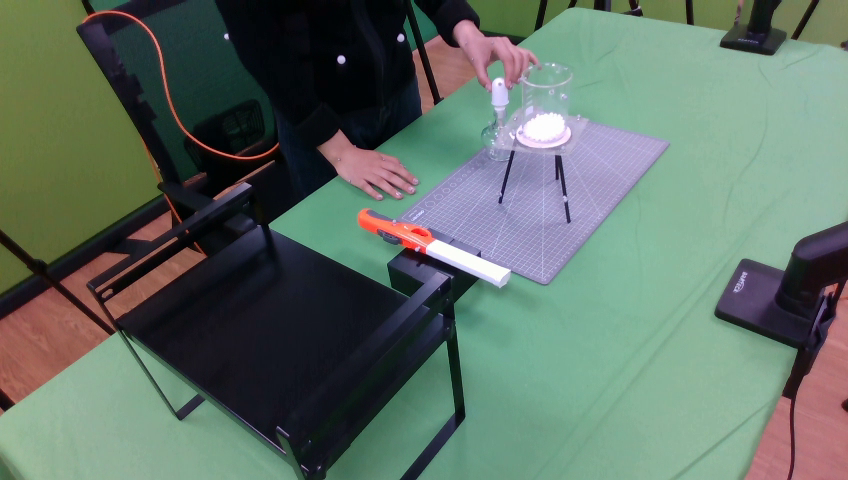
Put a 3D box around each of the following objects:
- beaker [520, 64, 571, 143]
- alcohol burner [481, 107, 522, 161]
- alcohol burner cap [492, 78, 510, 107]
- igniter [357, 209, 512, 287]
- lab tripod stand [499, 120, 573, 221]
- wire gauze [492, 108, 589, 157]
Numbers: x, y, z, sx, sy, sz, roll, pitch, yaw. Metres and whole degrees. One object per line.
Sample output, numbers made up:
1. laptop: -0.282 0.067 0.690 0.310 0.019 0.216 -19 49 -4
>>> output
1. beaker: 0.187 -0.208 0.924 0.073 0.101 0.084 23 49 30
2. alcohol burner: 0.143 -0.208 1.124 0.078 0.119 0.077 -6 39 5
3. alcohol burner cap: 0.136 -0.264 1.079 0.034 0.048 0.033 -4 38 4
4. igniter: 0.004 0.006 0.891 0.274 0.025 0.057 23 38 30
5. lab tripod stand: 0.198 -0.117 0.992 0.148 0.132 0.147 -3 40 3
6. wire gauze: 0.185 -0.169 0.954 0.121 0.011 0.125 12 46 22
